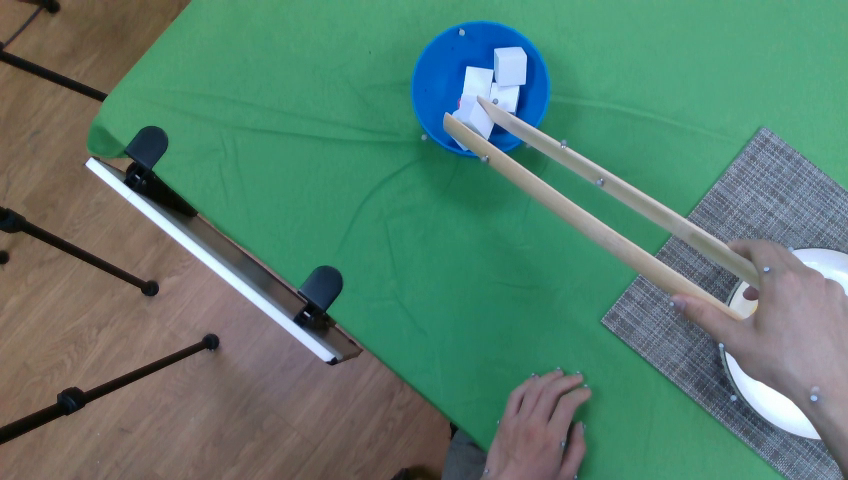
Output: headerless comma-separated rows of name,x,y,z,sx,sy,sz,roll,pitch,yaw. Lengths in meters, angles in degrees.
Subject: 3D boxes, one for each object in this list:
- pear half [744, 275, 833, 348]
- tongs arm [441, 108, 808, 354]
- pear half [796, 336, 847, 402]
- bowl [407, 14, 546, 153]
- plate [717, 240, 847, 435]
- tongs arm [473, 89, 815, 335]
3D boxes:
pear half,0.409,0.070,0.655,0.110,0.056,0.076,-39,89,-6
tongs arm,0.152,-0.022,0.552,0.028,0.028,0.384,-35,59,-28
pear half,0.454,0.141,0.655,0.088,0.031,0.070,-17,88,5
bowl,0.057,-0.164,0.684,0.151,0.077,0.151,0,85,2
plate,0.423,0.104,0.665,0.207,0.039,0.207,0,84,2
tongs arm,0.174,-0.038,0.563,0.381,0.027,0.051,37,61,26
